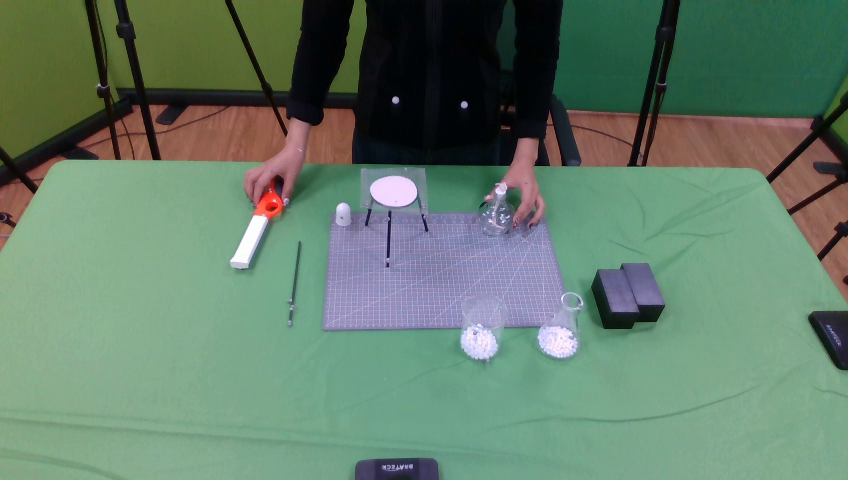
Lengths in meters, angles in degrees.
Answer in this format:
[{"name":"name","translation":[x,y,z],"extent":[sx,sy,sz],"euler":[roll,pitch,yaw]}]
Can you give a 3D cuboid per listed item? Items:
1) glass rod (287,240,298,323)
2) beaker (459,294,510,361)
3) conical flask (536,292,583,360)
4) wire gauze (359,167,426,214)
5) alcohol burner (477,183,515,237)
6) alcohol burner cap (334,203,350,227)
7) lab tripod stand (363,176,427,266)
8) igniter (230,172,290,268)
[{"name":"glass rod","translation":[-0.242,0.072,1.119],"extent":[0.008,0.008,0.198],"euler":[-1,47,-5]},{"name":"beaker","translation":[0.095,0.147,1.012],"extent":[0.083,0.101,0.074],"euler":[26,49,21]},{"name":"conical flask","translation":[0.234,0.139,1.015],"extent":[0.075,0.122,0.075],"euler":[2,46,-2]},{"name":"wire gauze","translation":[-0.059,-0.093,1.110],"extent":[0.125,0.011,0.120],"euler":[2,45,-5]},{"name":"alcohol burner","translation":[0.146,-0.065,1.208],"extent":[0.078,0.119,0.077],"euler":[2,44,-2]},{"name":"alcohol burner cap","translation":[-0.166,-0.054,1.221],"extent":[0.034,0.048,0.033],"euler":[2,46,-2]},{"name":"lab tripod stand","translation":[-0.058,-0.047,1.159],"extent":[0.148,0.132,0.147],"euler":[3,44,-2]},{"name":"igniter","translation":[-0.325,-0.049,1.218],"extent":[0.057,0.025,0.275],"euler":[8,45,3]}]
